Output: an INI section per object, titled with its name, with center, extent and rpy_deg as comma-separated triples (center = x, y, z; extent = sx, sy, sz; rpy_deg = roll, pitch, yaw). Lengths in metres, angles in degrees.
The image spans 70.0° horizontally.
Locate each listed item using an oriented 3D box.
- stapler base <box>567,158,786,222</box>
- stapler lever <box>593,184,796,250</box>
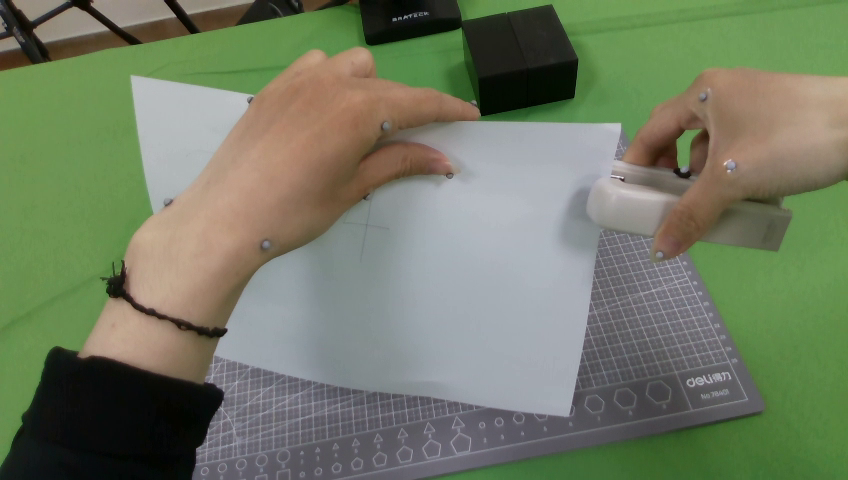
[stapler base]
center = 0.156, -0.021, 0.370
extent = 0.130, 0.041, 0.024
rpy_deg = 7, 24, -1
[stapler lever]
center = 0.156, -0.012, 0.347
extent = 0.118, 0.027, 0.040
rpy_deg = 7, 24, -1
